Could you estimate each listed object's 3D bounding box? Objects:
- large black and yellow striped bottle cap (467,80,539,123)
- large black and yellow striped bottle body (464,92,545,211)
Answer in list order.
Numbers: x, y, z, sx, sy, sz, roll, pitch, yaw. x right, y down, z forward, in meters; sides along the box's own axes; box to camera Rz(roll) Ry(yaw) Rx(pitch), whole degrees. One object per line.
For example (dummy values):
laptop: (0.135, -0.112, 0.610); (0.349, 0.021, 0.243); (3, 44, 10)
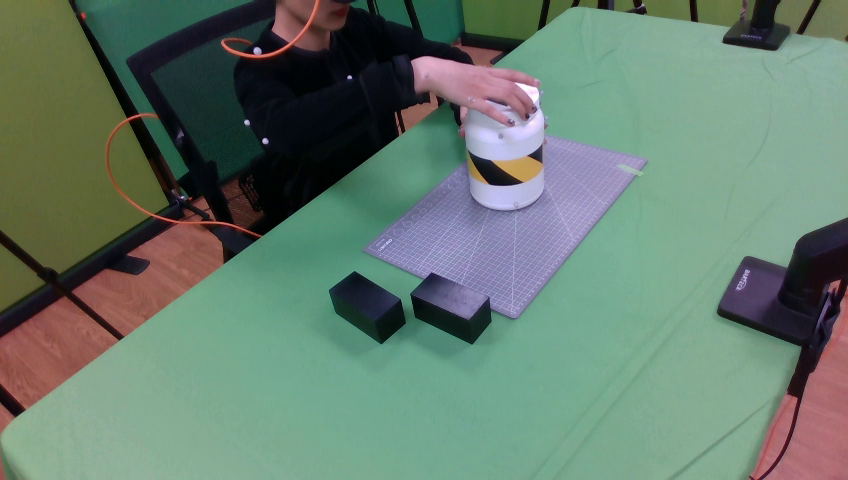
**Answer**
large black and yellow striped bottle cap: (0.125, -0.221, 0.959); (0.115, 0.019, 0.114); (-4, 41, 4)
large black and yellow striped bottle body: (0.136, -0.157, 1.011); (0.131, 0.185, 0.130); (-5, 40, 5)
